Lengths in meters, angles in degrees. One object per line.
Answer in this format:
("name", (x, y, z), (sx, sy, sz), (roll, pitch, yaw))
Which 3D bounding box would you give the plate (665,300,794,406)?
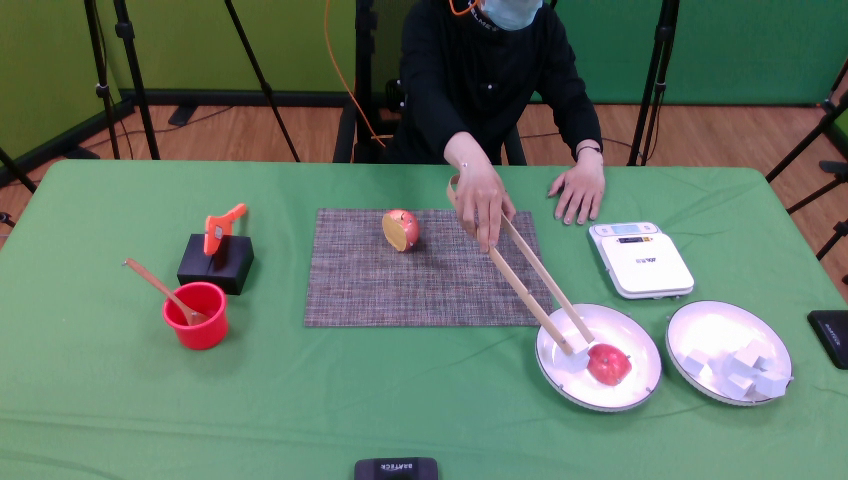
("plate", (0.513, 0.194, 1.034), (0.208, 0.039, 0.206), (2, 46, -2))

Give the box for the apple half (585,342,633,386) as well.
("apple half", (0.309, 0.198, 1.008), (0.081, 0.033, 0.081), (4, 48, -4))

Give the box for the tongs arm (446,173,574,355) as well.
("tongs arm", (0.145, 0.031, 1.049), (0.051, 0.026, 0.383), (-25, 64, -27))

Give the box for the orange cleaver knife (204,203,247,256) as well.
("orange cleaver knife", (-0.374, -0.024, 1.146), (0.012, 0.077, 0.211), (4, 14, 1))

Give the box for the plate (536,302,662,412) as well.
("plate", (0.288, 0.197, 1.016), (0.209, 0.038, 0.208), (2, 46, -2))

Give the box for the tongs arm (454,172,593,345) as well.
("tongs arm", (0.169, 0.022, 1.062), (0.028, 0.028, 0.385), (-24, 64, -23))

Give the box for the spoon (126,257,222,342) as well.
("spoon", (-0.408, 0.096, 0.990), (0.194, 0.021, 0.041), (50, 53, -18))

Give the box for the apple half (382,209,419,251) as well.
("apple half", (-0.039, -0.022, 1.175), (0.053, 0.075, 0.080), (-27, 50, -31))

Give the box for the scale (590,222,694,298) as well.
("scale", (0.424, 0.031, 1.189), (0.149, 0.032, 0.199), (-3, 46, -7))
